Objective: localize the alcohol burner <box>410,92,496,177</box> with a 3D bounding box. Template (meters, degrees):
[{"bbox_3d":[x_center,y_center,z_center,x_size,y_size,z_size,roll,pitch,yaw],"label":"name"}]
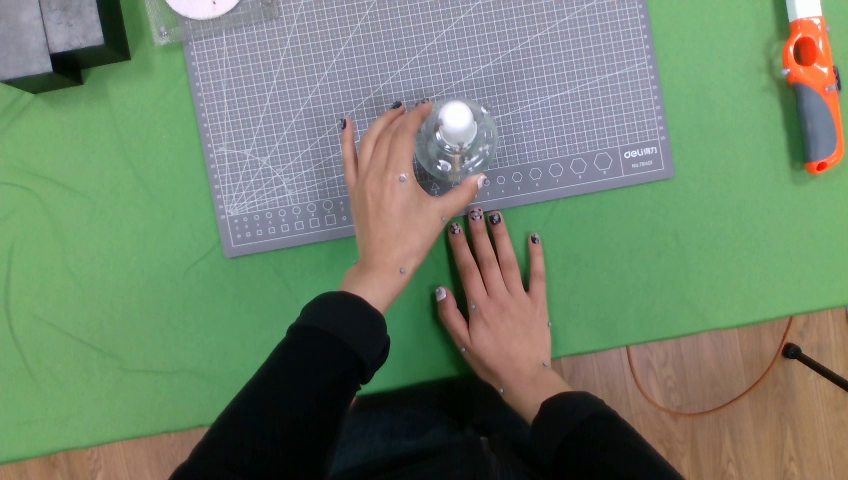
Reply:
[{"bbox_3d":[0.026,-0.098,0.534,0.078,0.119,0.077,0,83,0],"label":"alcohol burner"}]

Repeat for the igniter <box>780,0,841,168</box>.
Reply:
[{"bbox_3d":[0.368,-0.208,0.587,0.057,0.025,0.276,-10,92,-12],"label":"igniter"}]

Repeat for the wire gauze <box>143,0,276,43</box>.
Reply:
[{"bbox_3d":[-0.218,-0.261,0.580,0.125,0.011,0.121,-16,91,0],"label":"wire gauze"}]

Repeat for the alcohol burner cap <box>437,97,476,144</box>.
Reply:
[{"bbox_3d":[0.025,-0.100,0.498,0.034,0.048,0.034,0,86,7],"label":"alcohol burner cap"}]
